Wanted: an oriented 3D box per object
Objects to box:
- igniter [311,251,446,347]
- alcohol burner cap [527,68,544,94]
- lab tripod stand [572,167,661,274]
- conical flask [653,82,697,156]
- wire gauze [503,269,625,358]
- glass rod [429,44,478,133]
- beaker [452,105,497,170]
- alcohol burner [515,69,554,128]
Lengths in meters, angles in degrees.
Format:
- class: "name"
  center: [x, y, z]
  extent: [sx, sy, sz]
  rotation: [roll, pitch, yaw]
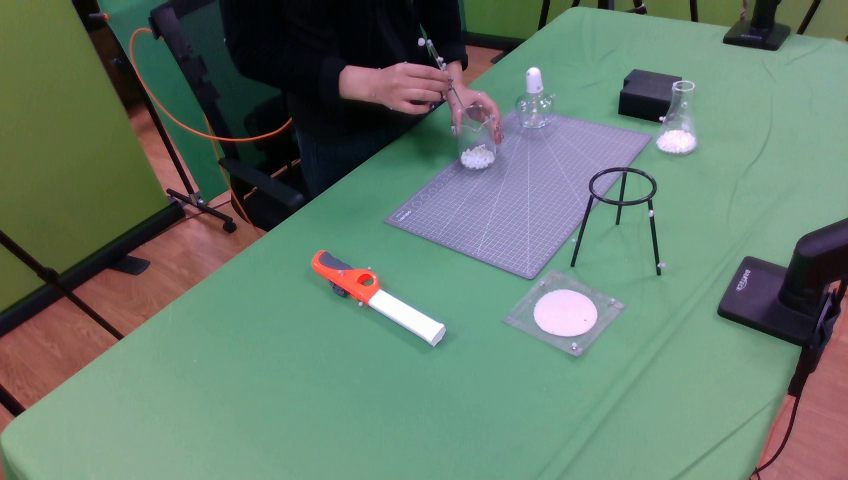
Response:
- class: "igniter"
  center: [-0.078, 0.081, 0.899]
  extent: [0.274, 0.025, 0.057]
  rotation: [27, 63, 35]
- class: "alcohol burner cap"
  center: [0.216, -0.312, 1.179]
  extent: [0.034, 0.048, 0.033]
  rotation: [-10, 40, 9]
- class: "lab tripod stand"
  center: [0.284, -0.030, 0.879]
  extent: [0.148, 0.132, 0.147]
  rotation: [-7, 38, 6]
- class: "conical flask"
  center: [0.454, -0.218, 1.077]
  extent: [0.075, 0.122, 0.075]
  rotation: [-5, 40, 5]
- class: "wire gauze"
  center: [0.194, 0.100, 0.840]
  extent: [0.120, 0.011, 0.125]
  rotation: [27, 54, 36]
- class: "glass rod"
  center: [0.052, -0.250, 1.017]
  extent: [0.008, 0.201, 0.008]
  rotation: [-16, 48, 20]
- class: "beaker"
  center: [0.096, -0.184, 1.111]
  extent: [0.074, 0.101, 0.083]
  rotation: [-13, 40, 0]
- class: "alcohol burner"
  center: [0.221, -0.285, 1.203]
  extent: [0.078, 0.119, 0.077]
  rotation: [-4, 39, 4]
